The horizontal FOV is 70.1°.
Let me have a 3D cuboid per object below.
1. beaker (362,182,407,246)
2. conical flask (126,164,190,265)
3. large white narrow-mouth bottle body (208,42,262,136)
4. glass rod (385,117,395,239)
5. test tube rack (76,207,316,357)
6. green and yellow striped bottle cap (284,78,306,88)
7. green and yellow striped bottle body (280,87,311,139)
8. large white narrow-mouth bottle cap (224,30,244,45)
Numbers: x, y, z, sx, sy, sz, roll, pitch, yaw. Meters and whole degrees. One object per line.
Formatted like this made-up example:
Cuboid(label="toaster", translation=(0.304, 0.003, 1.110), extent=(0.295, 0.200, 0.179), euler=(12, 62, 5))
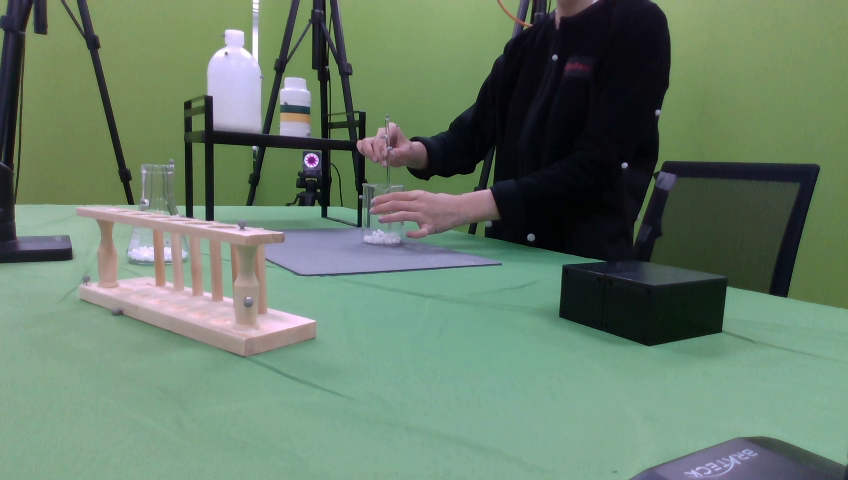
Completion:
Cuboid(label="beaker", translation=(-0.066, -0.043, 0.993), extent=(0.074, 0.100, 0.084), euler=(1, 8, -7))
Cuboid(label="conical flask", translation=(-0.332, -0.033, 0.756), extent=(0.075, 0.122, 0.075), euler=(2, 7, 0))
Cuboid(label="large white narrow-mouth bottle body", translation=(-0.369, -0.304, 1.181), extent=(0.102, 0.194, 0.101), euler=(2, 9, 0))
Cuboid(label="glass rod", translation=(-0.056, -0.100, 0.987), extent=(0.008, 0.199, 0.008), euler=(-2, 12, 1))
Cuboid(label="test tube rack", translation=(-0.196, 0.023, 0.500), extent=(0.241, 0.085, 0.067), euler=(8, 9, 36))
Cuboid(label="green and yellow striped bottle cap", translation=(-0.268, -0.325, 1.259), extent=(0.045, 0.020, 0.045), euler=(5, 8, 0))
Cuboid(label="green and yellow striped bottle body", translation=(-0.269, -0.274, 1.266), extent=(0.063, 0.119, 0.063), euler=(3, 7, 0))
Cuboid(label="large white narrow-mouth bottle cap", translation=(-0.365, -0.389, 1.166), extent=(0.038, 0.024, 0.037), euler=(2, 9, 0))
